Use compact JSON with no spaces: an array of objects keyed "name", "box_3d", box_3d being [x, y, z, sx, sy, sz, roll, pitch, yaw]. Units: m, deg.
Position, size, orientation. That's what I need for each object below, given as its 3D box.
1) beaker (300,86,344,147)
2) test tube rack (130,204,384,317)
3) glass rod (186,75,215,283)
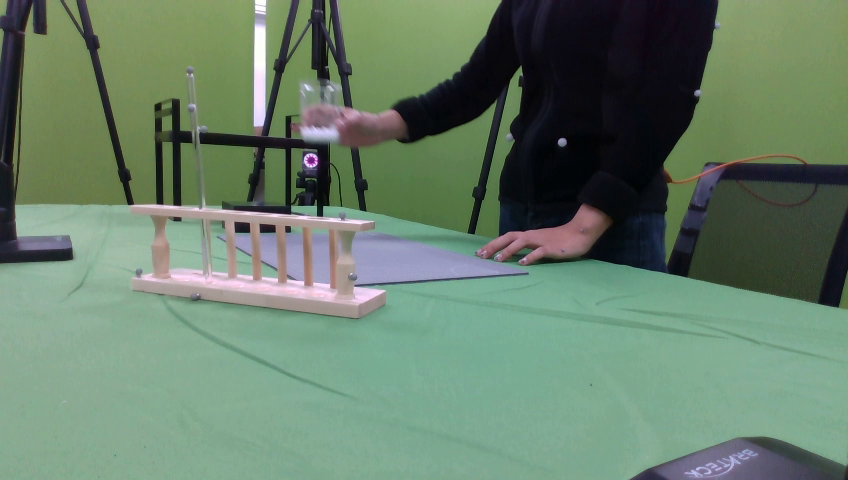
[{"name":"beaker","box_3d":[-0.179,-0.219,1.083,0.083,0.100,0.074,2,6,25]},{"name":"test tube rack","box_3d":[-0.163,0.013,0.589,0.242,0.085,0.067,4,8,17]},{"name":"glass rod","box_3d":[-0.210,-0.052,0.568,0.008,0.199,0.008,-1,15,1]}]
